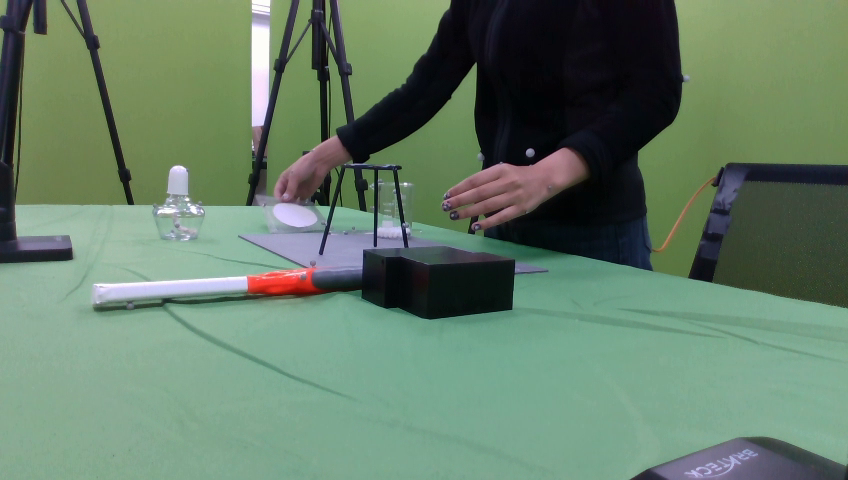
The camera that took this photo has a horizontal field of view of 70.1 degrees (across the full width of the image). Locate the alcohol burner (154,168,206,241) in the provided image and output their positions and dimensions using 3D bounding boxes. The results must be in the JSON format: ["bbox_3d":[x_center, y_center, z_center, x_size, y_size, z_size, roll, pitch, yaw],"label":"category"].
[{"bbox_3d":[-0.394,-0.059,0.974,0.078,0.119,0.078,1,8,0],"label":"alcohol burner"}]

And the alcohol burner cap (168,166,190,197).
[{"bbox_3d":[-0.392,-0.095,0.970,0.034,0.048,0.034,7,8,-1],"label":"alcohol burner cap"}]

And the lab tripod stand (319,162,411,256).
[{"bbox_3d":[-0.081,-0.047,0.879,0.148,0.131,0.148,2,9,0],"label":"lab tripod stand"}]

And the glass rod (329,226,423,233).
[{"bbox_3d":[-0.087,-0.020,1.148,0.201,0.008,0.008,-3,9,-32],"label":"glass rod"}]

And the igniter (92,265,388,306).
[{"bbox_3d":[-0.164,0.042,0.589,0.278,0.025,0.057,-2,-7,-31],"label":"igniter"}]

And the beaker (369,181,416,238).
[{"bbox_3d":[-0.057,-0.056,1.090,0.084,0.100,0.074,2,7,0],"label":"beaker"}]

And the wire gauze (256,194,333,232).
[{"bbox_3d":[-0.248,-0.051,1.156,0.122,0.011,0.124,1,33,-33],"label":"wire gauze"}]
